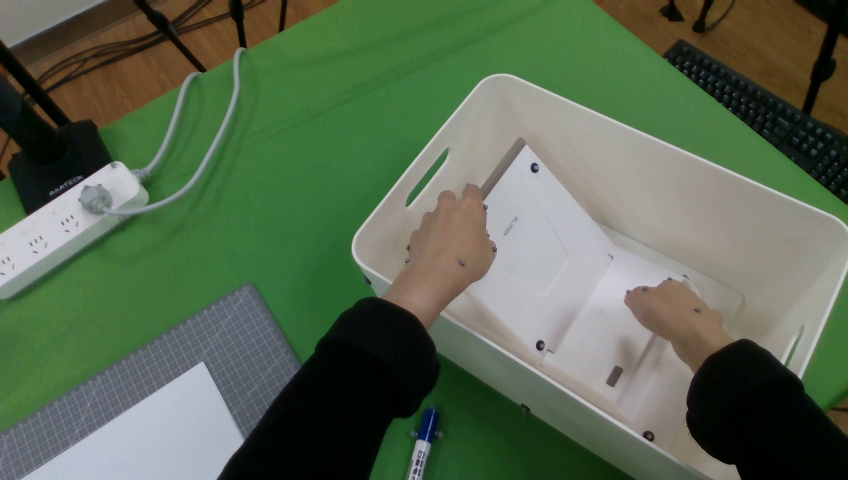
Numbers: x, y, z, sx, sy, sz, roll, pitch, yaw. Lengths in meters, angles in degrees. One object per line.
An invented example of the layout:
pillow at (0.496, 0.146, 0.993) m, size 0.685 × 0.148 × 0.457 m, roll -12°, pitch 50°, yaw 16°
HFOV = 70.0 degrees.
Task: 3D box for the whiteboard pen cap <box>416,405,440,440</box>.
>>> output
whiteboard pen cap at (0.003, 0.183, 0.603) m, size 0.018 × 0.018 × 0.033 m, roll 12°, pitch 65°, yaw 12°

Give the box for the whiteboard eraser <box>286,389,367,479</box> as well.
whiteboard eraser at (-0.095, 0.204, 0.585) m, size 0.055 × 0.042 × 0.112 m, roll 8°, pitch 63°, yaw 11°

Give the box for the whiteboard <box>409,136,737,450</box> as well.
whiteboard at (0.145, 0.034, 0.599) m, size 0.303 × 0.145 × 0.216 m, roll 28°, pitch 65°, yaw 19°

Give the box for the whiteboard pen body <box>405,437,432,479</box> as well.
whiteboard pen body at (-0.012, 0.234, 0.579) m, size 0.017 × 0.017 × 0.140 m, roll 13°, pitch 64°, yaw 13°

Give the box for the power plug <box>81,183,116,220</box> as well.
power plug at (-0.386, -0.037, 0.725) m, size 0.035 × 0.053 × 0.072 m, roll -28°, pitch 69°, yaw -9°

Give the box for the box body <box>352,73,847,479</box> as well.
box body at (0.152, 0.037, 0.583) m, size 0.362 × 0.162 × 0.253 m, roll 30°, pitch 68°, yaw 19°

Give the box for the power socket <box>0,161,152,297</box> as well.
power socket at (-0.442, -0.016, 0.745) m, size 0.226 × 0.033 × 0.071 m, roll -37°, pitch 65°, yaw -14°
